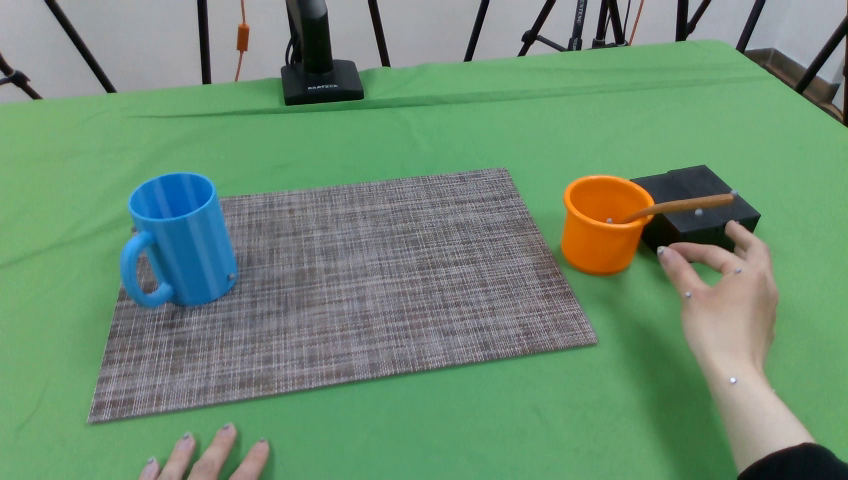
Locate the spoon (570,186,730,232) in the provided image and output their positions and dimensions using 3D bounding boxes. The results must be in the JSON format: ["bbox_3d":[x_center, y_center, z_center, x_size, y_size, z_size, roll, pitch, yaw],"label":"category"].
[{"bbox_3d":[0.215,-0.031,0.601,0.042,0.193,0.021,-18,87,-28],"label":"spoon"}]

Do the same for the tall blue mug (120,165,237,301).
[{"bbox_3d":[-0.231,0.003,0.578,0.078,0.109,0.106,-1,41,-3],"label":"tall blue mug"}]
